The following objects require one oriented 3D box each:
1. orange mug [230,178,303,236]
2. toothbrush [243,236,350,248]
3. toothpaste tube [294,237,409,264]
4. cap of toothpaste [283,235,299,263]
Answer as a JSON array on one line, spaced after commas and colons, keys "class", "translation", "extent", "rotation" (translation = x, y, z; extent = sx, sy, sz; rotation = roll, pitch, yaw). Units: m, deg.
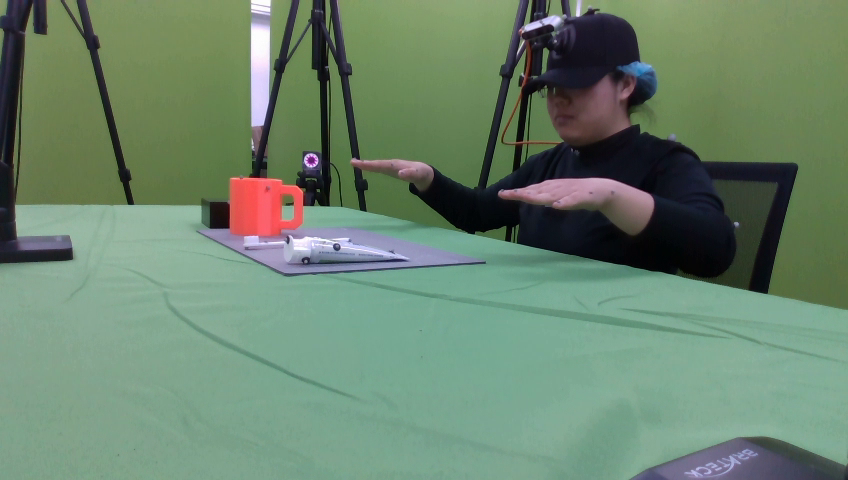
[{"class": "orange mug", "translation": [-0.275, -0.060, 1.058], "extent": [0.126, 0.101, 0.083], "rotation": [-2, 8, -5]}, {"class": "toothbrush", "translation": [-0.191, 0.001, 0.927], "extent": [0.183, 0.016, 0.014], "rotation": [-2, -8, -41]}, {"class": "toothpaste tube", "translation": [-0.101, 0.016, 0.806], "extent": [0.166, 0.034, 0.055], "rotation": [3, 12, -34]}, {"class": "cap of toothpaste", "translation": [-0.168, 0.012, 0.764], "extent": [0.011, 0.037, 0.037], "rotation": [3, 5, -34]}]
